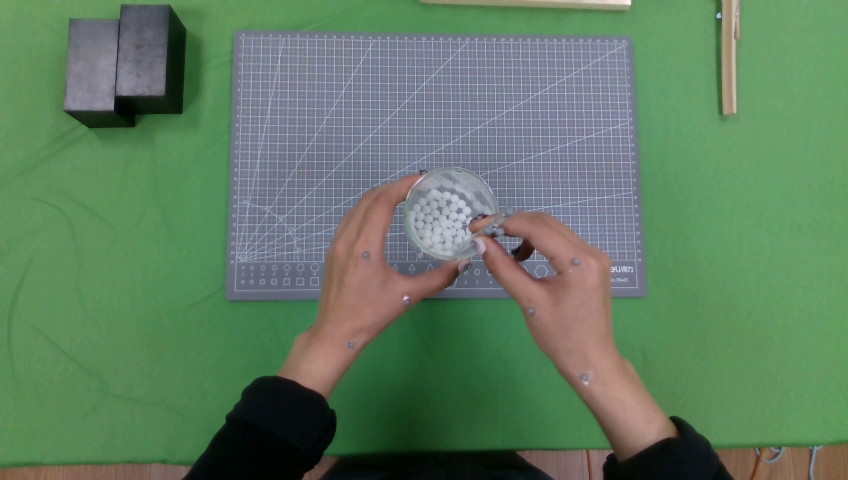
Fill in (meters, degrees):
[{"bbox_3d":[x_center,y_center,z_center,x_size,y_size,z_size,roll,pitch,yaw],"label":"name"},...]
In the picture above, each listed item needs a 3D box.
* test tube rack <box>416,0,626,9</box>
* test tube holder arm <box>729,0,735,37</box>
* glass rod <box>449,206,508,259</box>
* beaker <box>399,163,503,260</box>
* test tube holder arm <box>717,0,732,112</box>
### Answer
[{"bbox_3d":[0.114,-0.311,0.665,0.242,0.085,0.066,1,81,-3],"label":"test tube rack"},{"bbox_3d":[0.356,-0.278,0.707,0.010,0.015,0.087,11,80,-31],"label":"test tube holder arm"},{"bbox_3d":[0.036,-0.001,0.459,0.008,0.200,0.008,1,80,-7],"label":"glass rod"},{"bbox_3d":[0.019,-0.018,0.517,0.084,0.100,0.074,19,85,-3],"label":"beaker"},{"bbox_3d":[0.347,-0.234,0.698,0.013,0.015,0.178,10,81,-31],"label":"test tube holder arm"}]
